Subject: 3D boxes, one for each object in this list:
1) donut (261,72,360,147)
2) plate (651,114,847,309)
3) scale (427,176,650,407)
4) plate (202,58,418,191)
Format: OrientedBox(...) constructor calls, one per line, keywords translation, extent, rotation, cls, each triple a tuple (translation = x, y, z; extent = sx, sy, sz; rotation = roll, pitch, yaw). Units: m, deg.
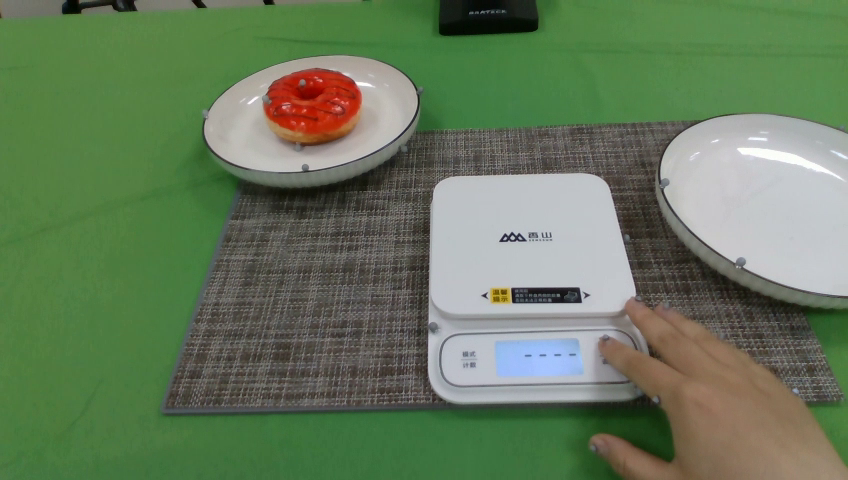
OrientedBox(translation=(-0.111, -0.128, 0.598), extent=(0.099, 0.049, 0.098), rotation=(-2, 45, 2), cls="donut")
OrientedBox(translation=(0.286, -0.025, 0.484), extent=(0.208, 0.039, 0.205), rotation=(-1, 47, 1), cls="plate")
OrientedBox(translation=(0.077, 0.028, 0.454), extent=(0.148, 0.032, 0.199), rotation=(-2, 48, 4), cls="scale")
OrientedBox(translation=(-0.109, -0.113, 0.598), extent=(0.209, 0.038, 0.207), rotation=(-3, 45, 3), cls="plate")
